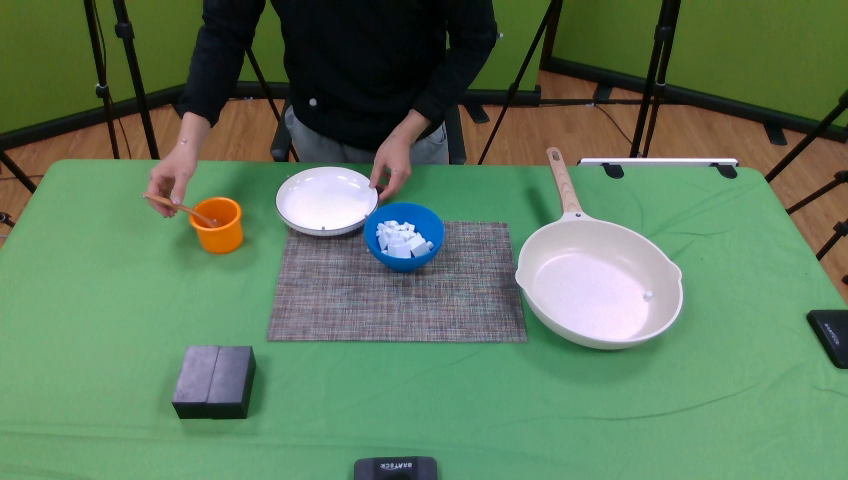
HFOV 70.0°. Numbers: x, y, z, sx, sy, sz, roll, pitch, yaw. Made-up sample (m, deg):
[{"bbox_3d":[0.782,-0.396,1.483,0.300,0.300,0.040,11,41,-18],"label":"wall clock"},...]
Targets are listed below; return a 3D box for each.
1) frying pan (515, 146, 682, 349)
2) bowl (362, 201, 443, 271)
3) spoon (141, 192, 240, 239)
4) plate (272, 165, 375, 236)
[{"bbox_3d":[0.303,-0.004,1.168,0.307,0.103,0.484,-1,55,-7],"label":"frying pan"},{"bbox_3d":[-0.041,0.006,1.144,0.151,0.077,0.150,2,46,-2],"label":"bowl"},{"bbox_3d":[-0.428,-0.048,1.123,0.021,0.195,0.041,-39,44,20],"label":"spoon"},{"bbox_3d":[-0.204,-0.076,1.240,0.208,0.039,0.206,3,44,-2],"label":"plate"}]
